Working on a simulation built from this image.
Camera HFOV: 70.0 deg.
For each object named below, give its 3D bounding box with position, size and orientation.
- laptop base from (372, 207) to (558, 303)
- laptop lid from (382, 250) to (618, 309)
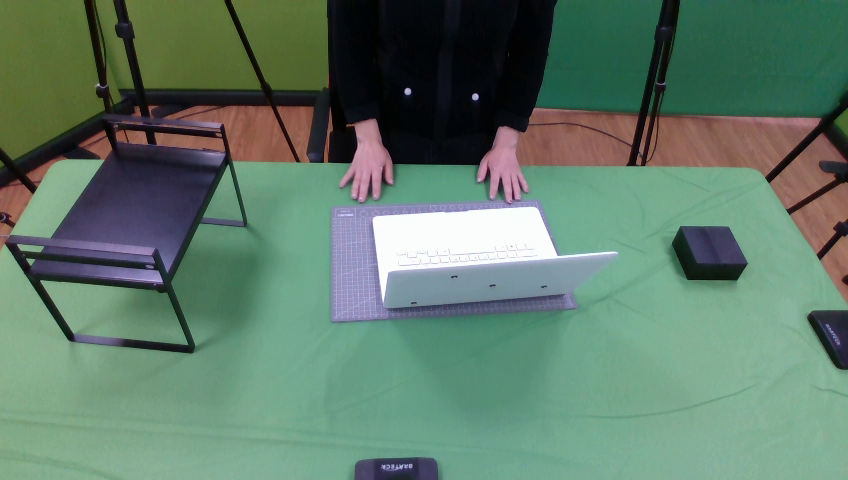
[{"bbox_3d":[0.083,0.027,1.178,0.355,0.023,0.234,-4,43,-8],"label":"laptop base"},{"bbox_3d":[0.110,0.070,0.989,0.357,0.242,0.013,-4,70,-9],"label":"laptop lid"}]
